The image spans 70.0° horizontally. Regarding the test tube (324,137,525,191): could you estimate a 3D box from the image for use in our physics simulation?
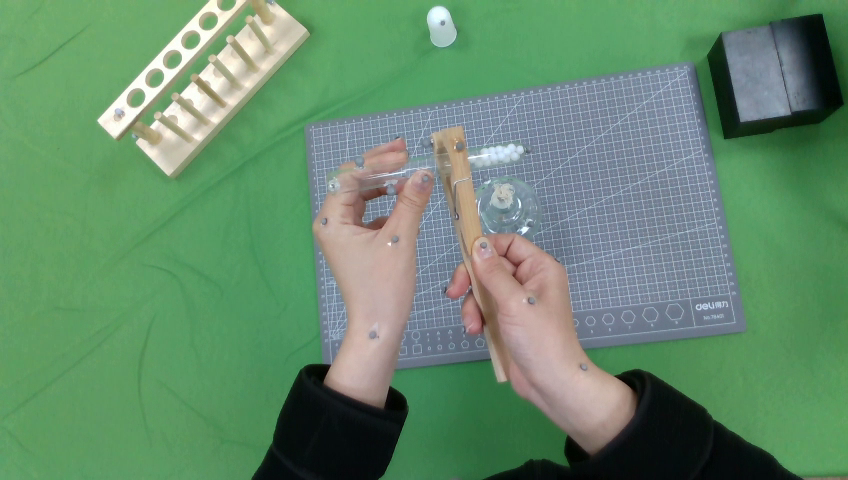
[{"bbox_3d":[0.006,-0.053,0.406,0.151,0.017,0.017,-13,77,-26],"label":"test tube"}]

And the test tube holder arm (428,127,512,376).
[{"bbox_3d":[0.033,0.008,0.422,0.015,0.013,0.178,-16,94,-16],"label":"test tube holder arm"}]

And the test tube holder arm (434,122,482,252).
[{"bbox_3d":[0.024,-0.035,0.411,0.015,0.010,0.088,-16,103,-16],"label":"test tube holder arm"}]

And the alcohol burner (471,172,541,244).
[{"bbox_3d":[0.080,-0.037,0.619,0.078,0.120,0.077,-2,78,9],"label":"alcohol burner"}]

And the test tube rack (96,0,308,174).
[{"bbox_3d":[-0.253,-0.196,0.706,0.066,0.085,0.242,42,89,12],"label":"test tube rack"}]

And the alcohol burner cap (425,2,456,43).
[{"bbox_3d":[0.017,-0.255,0.700,0.034,0.048,0.033,-3,75,10],"label":"alcohol burner cap"}]
